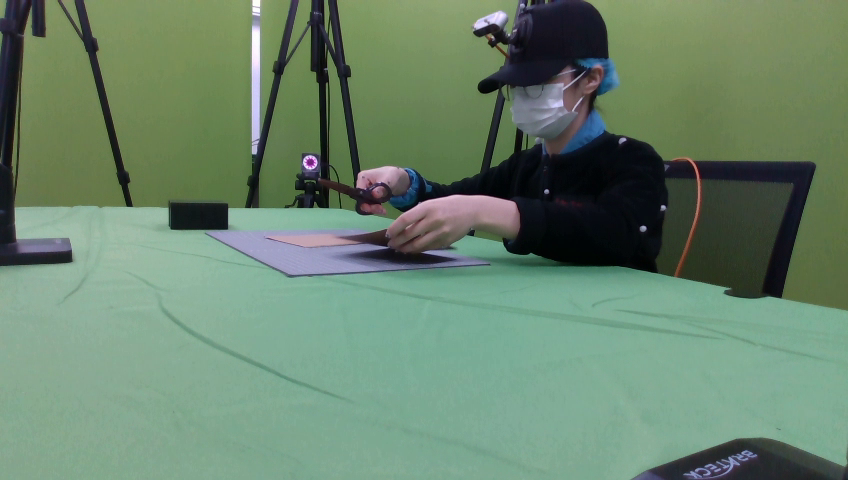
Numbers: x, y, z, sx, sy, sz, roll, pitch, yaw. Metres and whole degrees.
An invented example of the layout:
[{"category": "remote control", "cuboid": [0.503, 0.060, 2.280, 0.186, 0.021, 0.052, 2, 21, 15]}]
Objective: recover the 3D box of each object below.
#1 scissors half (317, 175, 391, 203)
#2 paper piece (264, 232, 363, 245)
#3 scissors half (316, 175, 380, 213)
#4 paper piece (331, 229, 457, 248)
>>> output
[{"category": "scissors half", "cuboid": [-0.117, -0.092, 1.035, 0.176, 0.040, 0.013, 9, 37, -50]}, {"category": "paper piece", "cuboid": [-0.180, -0.005, 1.032, 0.136, 0.004, 0.135, -4, 10, -43]}, {"category": "scissors half", "cuboid": [-0.131, -0.079, 1.040, 0.040, 0.012, 0.176, -37, -30, 12]}, {"category": "paper piece", "cuboid": [-0.043, -0.001, 0.890, 0.137, 0.008, 0.137, -1, -8, 39]}]
